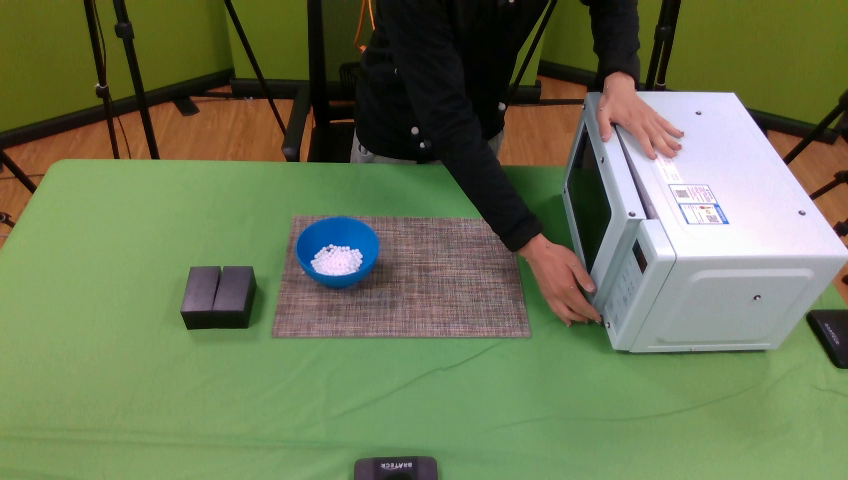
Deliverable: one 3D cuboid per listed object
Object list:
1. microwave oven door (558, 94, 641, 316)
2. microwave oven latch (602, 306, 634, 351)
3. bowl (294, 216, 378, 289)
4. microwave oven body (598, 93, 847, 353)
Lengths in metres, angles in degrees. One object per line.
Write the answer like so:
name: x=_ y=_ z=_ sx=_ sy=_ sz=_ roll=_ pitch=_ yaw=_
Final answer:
microwave oven door: x=0.316 y=-0.074 z=1.122 sx=0.039 sy=0.245 sz=0.353 roll=2 pitch=46 yaw=-2
microwave oven latch: x=0.332 y=0.153 z=1.044 sx=0.030 sy=0.029 sz=0.078 roll=0 pitch=45 yaw=-3
bowl: x=-0.158 y=0.036 z=1.110 sx=0.151 sy=0.077 sz=0.150 roll=3 pitch=45 yaw=-2
microwave oven body: x=0.475 y=-0.041 z=1.109 sx=0.326 sy=0.261 sz=0.438 roll=-1 pitch=45 yaw=-4
